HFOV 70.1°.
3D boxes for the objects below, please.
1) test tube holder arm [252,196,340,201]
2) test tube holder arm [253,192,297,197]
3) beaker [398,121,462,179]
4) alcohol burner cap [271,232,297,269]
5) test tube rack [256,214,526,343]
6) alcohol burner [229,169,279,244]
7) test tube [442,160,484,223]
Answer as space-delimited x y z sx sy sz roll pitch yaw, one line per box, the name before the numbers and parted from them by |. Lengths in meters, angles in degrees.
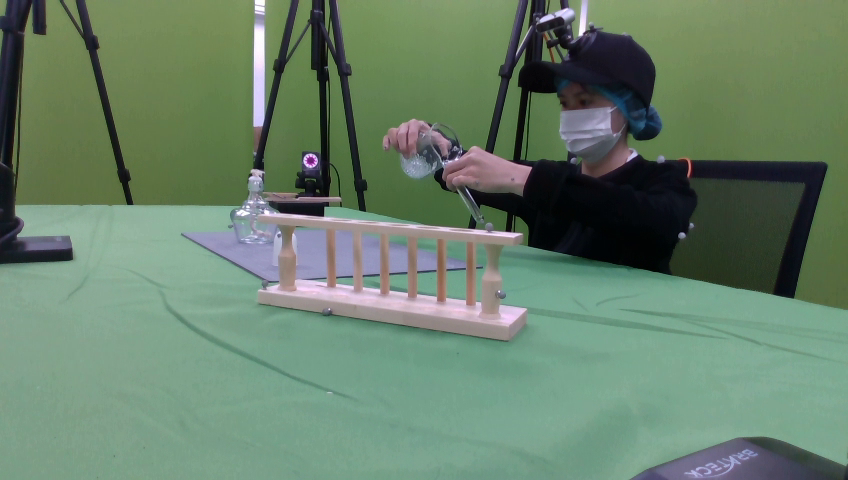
test tube holder arm | -0.260 -0.087 1.242 0.179 0.013 0.015 -1 7 -25
test tube holder arm | -0.301 -0.092 1.223 0.088 0.010 0.015 0 7 -25
beaker | 0.008 -0.155 1.088 0.074 0.084 0.100 16 -25 -35
alcohol burner cap | -0.175 0.012 0.760 0.034 0.048 0.034 2 8 0
test tube rack | -0.032 0.027 0.547 0.241 0.085 0.067 6 7 22
alcohol burner | -0.268 -0.053 0.958 0.078 0.119 0.078 2 6 0
test tube | 0.063 -0.081 0.996 0.017 0.017 0.149 -1 45 -29
